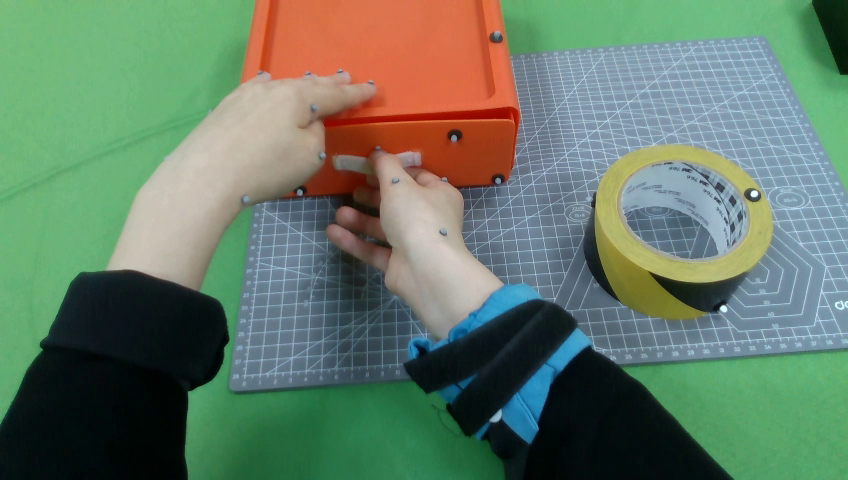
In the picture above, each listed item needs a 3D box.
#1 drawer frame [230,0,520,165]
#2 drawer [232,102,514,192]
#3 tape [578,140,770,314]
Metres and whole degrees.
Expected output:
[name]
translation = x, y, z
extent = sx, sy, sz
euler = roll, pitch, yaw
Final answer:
[drawer frame]
translation = -0.037, -0.153, 0.495
extent = 0.202, 0.083, 0.211
euler = -4, 57, 1
[drawer]
translation = -0.037, -0.144, 0.490
extent = 0.194, 0.074, 0.209
euler = -4, 58, 2
[tape]
translation = 0.168, -0.009, 0.412
extent = 0.117, 0.053, 0.116
euler = -2, 58, 3
